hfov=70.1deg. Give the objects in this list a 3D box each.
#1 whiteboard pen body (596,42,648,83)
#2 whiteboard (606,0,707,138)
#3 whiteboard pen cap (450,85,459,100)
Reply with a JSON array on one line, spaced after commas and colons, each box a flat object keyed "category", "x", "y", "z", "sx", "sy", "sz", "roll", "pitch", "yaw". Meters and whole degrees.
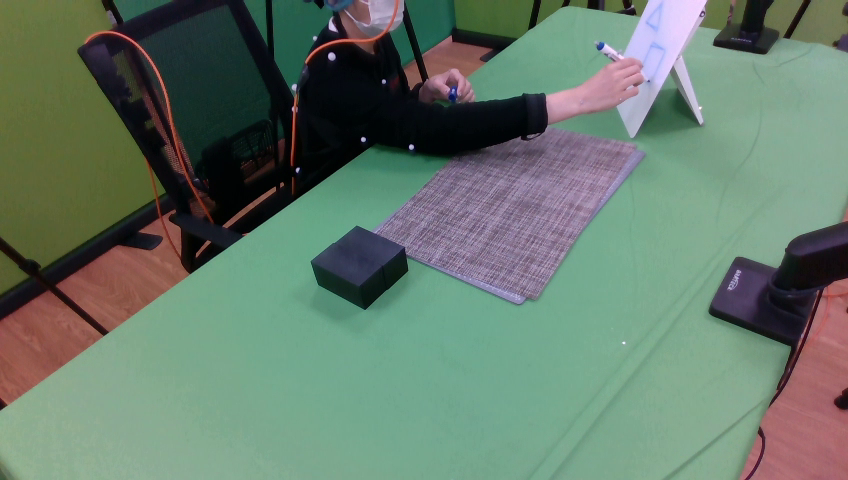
[{"category": "whiteboard pen body", "x": 0.360, "y": -0.316, "z": 1.087, "sx": 0.142, "sy": 0.017, "sz": 0.017, "roll": 22, "pitch": 30, "yaw": -30}, {"category": "whiteboard", "x": 0.496, "y": -0.358, "z": 1.147, "sx": 0.144, "sy": 0.305, "sz": 0.216, "roll": 12, "pitch": 40, "yaw": -7}, {"category": "whiteboard pen cap", "x": 0.063, "y": -0.307, "z": 1.263, "sx": 0.018, "sy": 0.018, "sz": 0.033, "roll": 2, "pitch": 50, "yaw": 10}]
